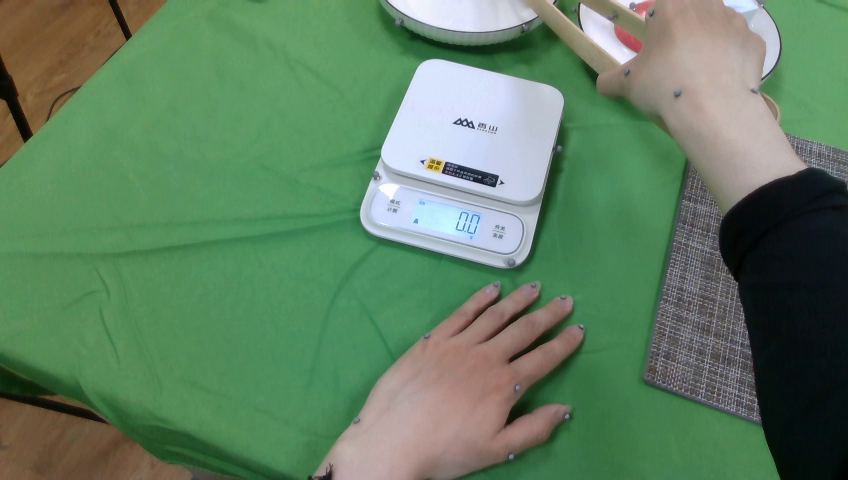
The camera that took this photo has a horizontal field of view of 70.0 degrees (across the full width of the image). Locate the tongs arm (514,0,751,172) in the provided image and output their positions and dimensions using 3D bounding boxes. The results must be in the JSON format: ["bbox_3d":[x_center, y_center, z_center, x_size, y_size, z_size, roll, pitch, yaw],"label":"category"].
[{"bbox_3d":[0.146,-0.173,0.539,0.028,0.028,0.383,-21,46,-5],"label":"tongs arm"}]

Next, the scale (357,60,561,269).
[{"bbox_3d":[0.037,-0.075,0.545,0.148,0.032,0.199,15,59,7],"label":"scale"}]

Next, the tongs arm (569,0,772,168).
[{"bbox_3d":[0.167,-0.183,0.540,0.051,0.027,0.380,-27,46,-6],"label":"tongs arm"}]

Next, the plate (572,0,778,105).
[{"bbox_3d":[0.258,-0.214,0.637,0.209,0.038,0.207,1,57,-2],"label":"plate"}]

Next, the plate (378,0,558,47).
[{"bbox_3d":[0.046,-0.282,0.672,0.208,0.039,0.205,1,58,-1],"label":"plate"}]

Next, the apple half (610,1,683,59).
[{"bbox_3d":[0.241,-0.229,0.640,0.081,0.033,0.080,0,55,0],"label":"apple half"}]
